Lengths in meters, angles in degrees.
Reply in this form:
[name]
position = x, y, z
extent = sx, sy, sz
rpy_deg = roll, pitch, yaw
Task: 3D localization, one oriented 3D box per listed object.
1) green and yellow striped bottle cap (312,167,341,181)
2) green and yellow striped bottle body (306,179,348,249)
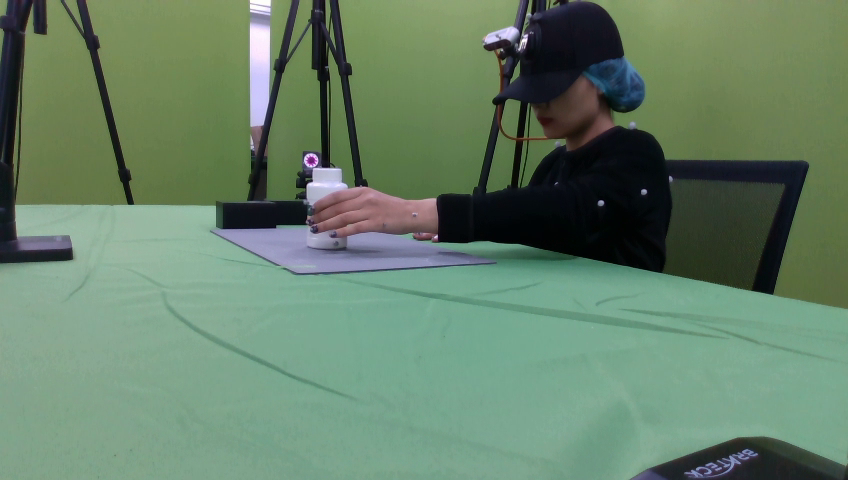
[green and yellow striped bottle cap]
position = -0.148, -0.100, 0.920
extent = 0.045, 0.020, 0.045
rpy_deg = 3, 10, 0
[green and yellow striped bottle body]
position = -0.149, -0.049, 0.927
extent = 0.063, 0.119, 0.063
rpy_deg = 2, 9, 0
